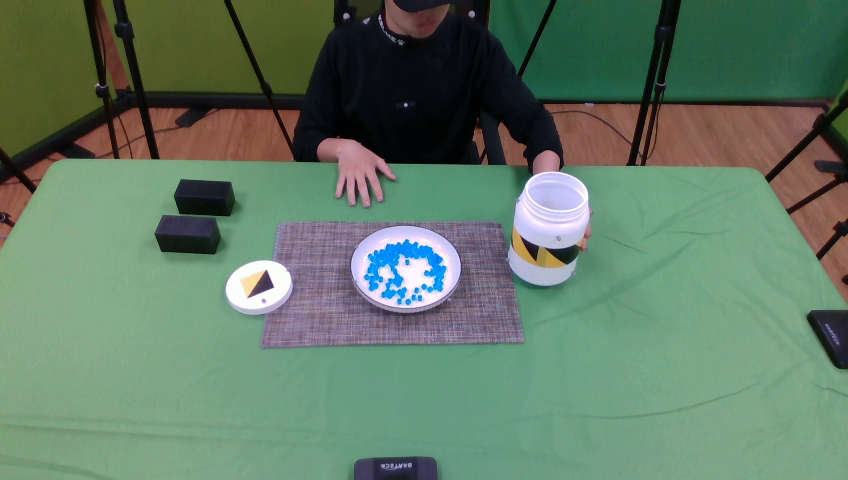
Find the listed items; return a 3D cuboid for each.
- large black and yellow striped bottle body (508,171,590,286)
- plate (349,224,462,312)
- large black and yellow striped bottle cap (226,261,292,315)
[{"bbox_3d":[0.226,-0.021,1.101,0.131,0.185,0.130,1,45,0],"label":"large black and yellow striped bottle body"},{"bbox_3d":[-0.035,0.054,1.126,0.208,0.039,0.206,2,46,-2],"label":"plate"},{"bbox_3d":[-0.298,0.085,1.092,0.115,0.019,0.114,0,45,1],"label":"large black and yellow striped bottle cap"}]
